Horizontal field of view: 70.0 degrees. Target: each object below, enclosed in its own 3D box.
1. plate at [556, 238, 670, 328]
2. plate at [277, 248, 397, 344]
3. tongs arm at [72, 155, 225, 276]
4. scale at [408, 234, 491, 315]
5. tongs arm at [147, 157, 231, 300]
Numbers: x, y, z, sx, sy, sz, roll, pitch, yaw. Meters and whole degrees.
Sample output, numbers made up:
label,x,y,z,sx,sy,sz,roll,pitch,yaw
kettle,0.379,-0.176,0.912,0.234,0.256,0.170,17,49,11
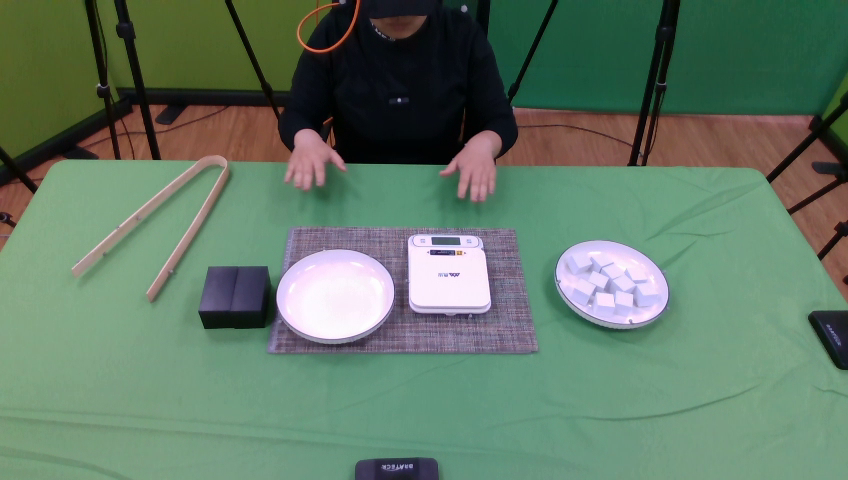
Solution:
label,x,y,z,sx,sy,sz,roll,pitch,yaw
plate,0.347,0.083,1.130,0.209,0.038,0.208,2,47,-2
plate,-0.152,0.101,1.073,0.208,0.039,0.206,2,46,-2
tongs arm,-0.531,-0.058,1.204,0.050,0.026,0.383,18,47,13
scale,0.045,0.055,1.135,0.149,0.032,0.199,1,46,-3
tongs arm,-0.453,-0.035,1.193,0.028,0.028,0.385,6,46,6
